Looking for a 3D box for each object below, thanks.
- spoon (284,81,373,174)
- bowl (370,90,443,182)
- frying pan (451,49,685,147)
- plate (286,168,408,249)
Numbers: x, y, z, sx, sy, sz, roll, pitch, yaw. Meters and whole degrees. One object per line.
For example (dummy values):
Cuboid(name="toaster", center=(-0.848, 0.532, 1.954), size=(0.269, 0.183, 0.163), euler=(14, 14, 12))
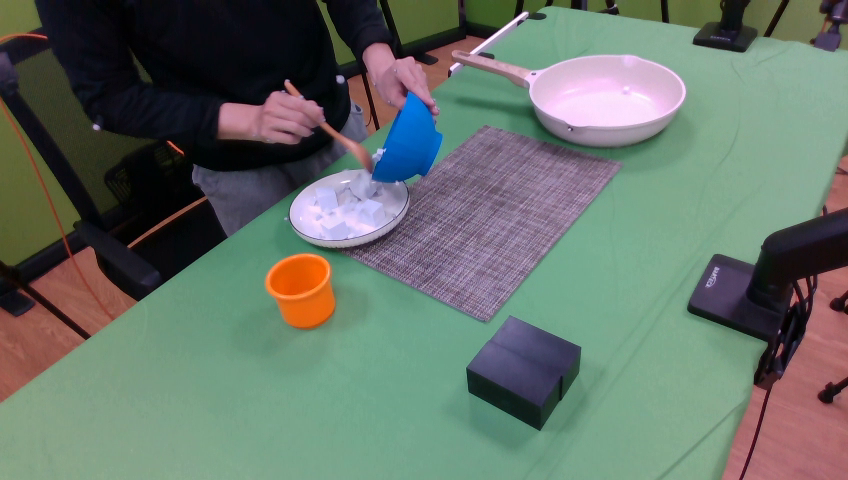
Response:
Cuboid(name="spoon", center=(-0.145, -0.172, 0.935), size=(0.021, 0.195, 0.041), euler=(-33, 32, 29))
Cuboid(name="bowl", center=(-0.020, -0.150, 0.952), size=(0.077, 0.151, 0.151), euler=(23, 41, -9))
Cuboid(name="frying pan", center=(0.269, -0.316, 1.233), size=(0.485, 0.103, 0.307), euler=(26, 49, 21))
Cuboid(name="plate", center=(-0.127, -0.050, 1.029), size=(0.207, 0.039, 0.206), euler=(-5, 39, 5))
